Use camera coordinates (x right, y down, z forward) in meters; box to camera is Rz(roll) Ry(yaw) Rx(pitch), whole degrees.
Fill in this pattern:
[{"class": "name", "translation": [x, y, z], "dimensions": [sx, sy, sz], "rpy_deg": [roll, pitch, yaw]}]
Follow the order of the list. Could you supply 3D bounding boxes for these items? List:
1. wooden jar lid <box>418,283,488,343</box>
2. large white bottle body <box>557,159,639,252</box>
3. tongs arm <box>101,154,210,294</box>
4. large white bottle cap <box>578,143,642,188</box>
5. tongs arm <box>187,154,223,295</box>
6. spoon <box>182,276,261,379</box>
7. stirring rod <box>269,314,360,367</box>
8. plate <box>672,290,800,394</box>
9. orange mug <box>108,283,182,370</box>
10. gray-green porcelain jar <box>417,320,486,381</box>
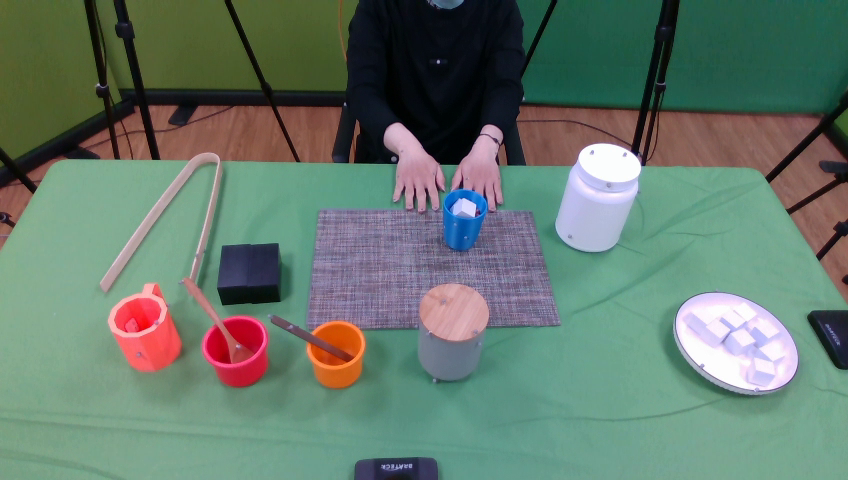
[{"class": "wooden jar lid", "translation": [0.044, 0.114, 0.931], "dimensions": [0.108, 0.021, 0.107], "rpy_deg": [2, 49, -2]}, {"class": "large white bottle body", "translation": [0.340, -0.081, 1.185], "dimensions": [0.131, 0.185, 0.130], "rpy_deg": [2, 46, -2]}, {"class": "tongs arm", "translation": [-0.525, -0.046, 1.203], "dimensions": [0.028, 0.028, 0.385], "rpy_deg": [4, 45, 13]}, {"class": "large white bottle cap", "translation": [0.344, -0.139, 1.123], "dimensions": [0.115, 0.018, 0.114], "rpy_deg": [2, 46, -2]}, {"class": "tongs arm", "translation": [-0.442, -0.045, 1.200], "dimensions": [0.051, 0.027, 0.382], "rpy_deg": [-4, 46, 1]}, {"class": "spoon", "translation": [-0.321, 0.137, 0.957], "dimensions": [0.041, 0.021, 0.194], "rpy_deg": [-37, 102, -32]}, {"class": "stirring rod", "translation": [-0.168, 0.160, 0.951], "dimensions": [0.177, 0.006, 0.014], "rpy_deg": [35, 41, -31]}, {"class": "plate", "translation": [0.533, 0.178, 1.050], "dimensions": [0.208, 0.039, 0.206], "rpy_deg": [2, 46, -2]}, {"class": "orange mug", "translation": [-0.445, 0.134, 0.983], "dimensions": [0.083, 0.101, 0.125], "rpy_deg": [-1, 50, -5]}, {"class": "gray-green porcelain jar", "translation": [0.042, 0.158, 0.975], "dimensions": [0.106, 0.127, 0.105], "rpy_deg": [2, 46, -2]}]
